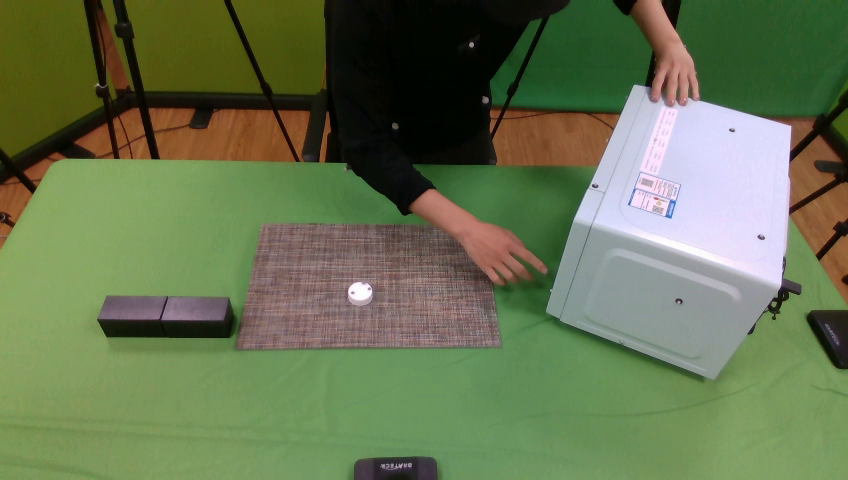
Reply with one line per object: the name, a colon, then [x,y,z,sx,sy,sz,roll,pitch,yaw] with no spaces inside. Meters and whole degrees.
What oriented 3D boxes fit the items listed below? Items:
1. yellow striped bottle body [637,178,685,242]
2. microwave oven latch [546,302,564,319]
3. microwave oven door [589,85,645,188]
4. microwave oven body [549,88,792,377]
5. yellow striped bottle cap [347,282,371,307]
yellow striped bottle body: [0.442,-0.058,1.126,0.063,0.121,0.062,0,47,1]
microwave oven latch: [0.242,0.102,1.081,0.030,0.029,0.079,21,48,17]
microwave oven door: [0.341,-0.107,1.149,0.039,0.245,0.354,21,48,15]
microwave oven body: [0.456,-0.028,1.088,0.325,0.261,0.440,20,47,16]
yellow striped bottle cap: [-0.117,0.098,1.093,0.044,0.019,0.044,3,45,-3]
